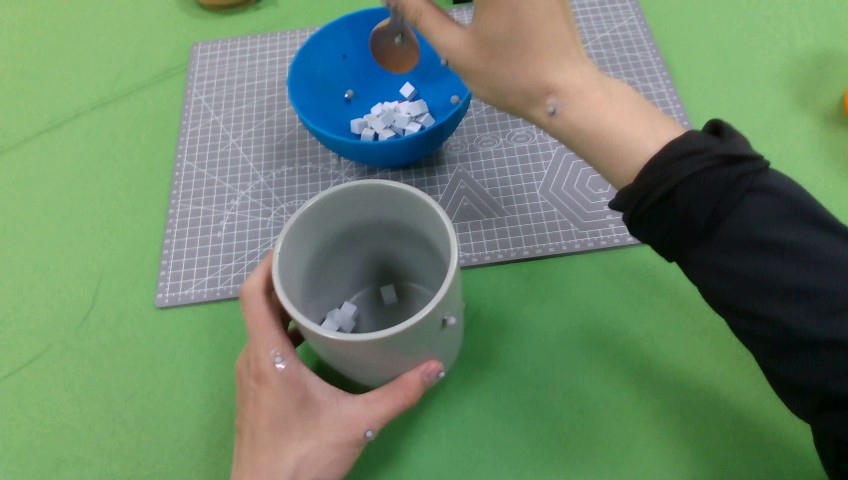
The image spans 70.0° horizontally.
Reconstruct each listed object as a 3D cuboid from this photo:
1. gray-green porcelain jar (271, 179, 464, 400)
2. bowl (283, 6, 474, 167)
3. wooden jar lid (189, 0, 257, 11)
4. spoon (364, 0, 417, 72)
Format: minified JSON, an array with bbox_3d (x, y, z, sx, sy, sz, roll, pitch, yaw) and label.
[{"bbox_3d":[-0.028,0.039,0.390,0.106,0.127,0.105,-3,59,5],"label":"gray-green porcelain jar"},{"bbox_3d":[-0.033,-0.114,0.506,0.151,0.077,0.150,-2,59,4],"label":"bowl"},{"bbox_3d":[-0.215,-0.289,0.664,0.108,0.021,0.107,-1,59,2],"label":"wooden jar lid"},{"bbox_3d":[-0.019,-0.152,0.395,0.042,0.193,0.021,18,86,-4],"label":"spoon"}]
